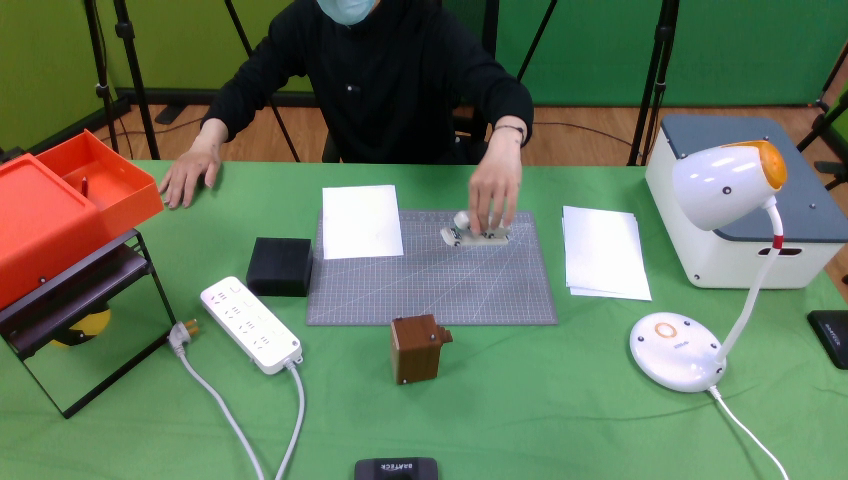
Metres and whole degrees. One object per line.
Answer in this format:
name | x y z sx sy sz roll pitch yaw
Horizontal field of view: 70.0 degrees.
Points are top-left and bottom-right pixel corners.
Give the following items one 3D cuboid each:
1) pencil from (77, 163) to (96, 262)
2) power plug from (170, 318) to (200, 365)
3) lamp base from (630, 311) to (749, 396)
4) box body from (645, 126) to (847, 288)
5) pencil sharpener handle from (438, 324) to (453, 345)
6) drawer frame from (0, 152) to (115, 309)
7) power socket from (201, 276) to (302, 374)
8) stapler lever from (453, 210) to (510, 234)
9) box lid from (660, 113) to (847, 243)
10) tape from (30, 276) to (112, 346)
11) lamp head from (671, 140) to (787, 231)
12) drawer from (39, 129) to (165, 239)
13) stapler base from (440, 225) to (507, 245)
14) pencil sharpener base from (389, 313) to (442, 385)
pencil | -0.528 -0.047 0.942 0.012 0.012 0.193 -15 61 -18
power plug | -0.392 0.167 1.015 0.052 0.035 0.072 -30 92 -23
lamp base | 0.447 0.143 0.983 0.161 0.181 0.178 -24 55 -24
box body | 0.625 -0.080 1.222 0.254 0.161 0.361 0 46 -3
pencil sharpener handle | 0.036 0.155 0.975 0.031 0.068 0.036 -8 69 -11
drawer frame | -0.605 -0.011 0.874 0.201 0.083 0.213 31 52 23
power socket | -0.297 0.141 1.034 0.072 0.033 0.225 -34 58 -30
stapler lever | 0.103 -0.031 1.054 0.118 0.040 0.026 1 50 -30
box lid | 0.628 -0.132 1.171 0.263 0.015 0.369 1 46 -3
tape | -0.594 0.118 1.021 0.117 0.053 0.116 3 44 -2
lamp head | 0.415 -0.078 0.811 0.113 0.123 0.112 12 70 -37
drawer | -0.548 -0.060 0.929 0.193 0.073 0.211 32 53 23
stapler base | 0.092 -0.014 1.069 0.131 0.024 0.041 1 50 -30
pencil sharpener base | -0.013 0.175 0.971 0.077 0.107 0.061 -8 47 -11
